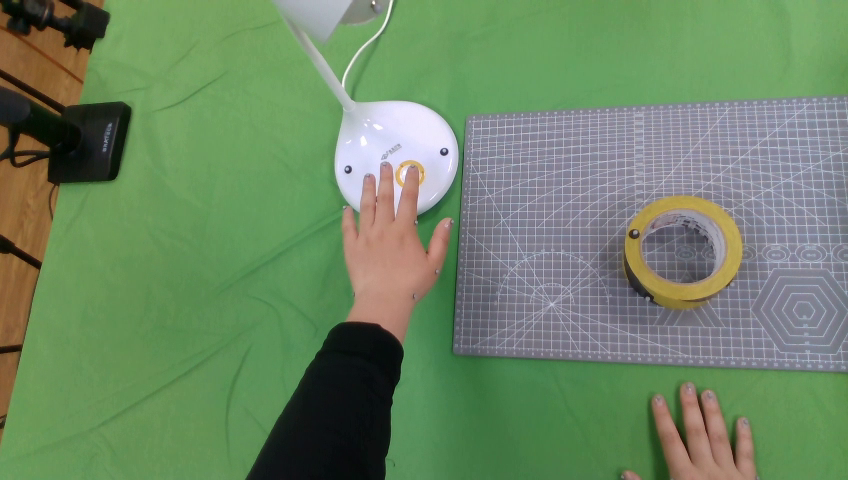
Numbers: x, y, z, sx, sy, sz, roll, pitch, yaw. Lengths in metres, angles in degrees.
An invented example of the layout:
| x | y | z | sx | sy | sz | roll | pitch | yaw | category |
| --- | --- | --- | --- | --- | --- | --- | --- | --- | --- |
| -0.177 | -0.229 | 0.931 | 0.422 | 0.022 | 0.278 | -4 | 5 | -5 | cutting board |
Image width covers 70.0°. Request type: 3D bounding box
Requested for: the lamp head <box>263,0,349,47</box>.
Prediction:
| x | y | z | sx | sy | sz | roll | pitch | yaw | category |
| --- | --- | --- | --- | --- | --- | --- | --- | --- | --- |
| -0.090 | -0.208 | 0.401 | 0.123 | 0.112 | 0.112 | 30 | 82 | -14 | lamp head |

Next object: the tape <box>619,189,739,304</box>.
| x | y | z | sx | sy | sz | roll | pitch | yaw | category |
| --- | --- | --- | --- | --- | --- | --- | --- | --- | --- |
| 0.263 | 0.007 | 0.633 | 0.116 | 0.053 | 0.116 | -4 | 74 | 13 | tape |

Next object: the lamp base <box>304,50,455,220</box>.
| x | y | z | sx | sy | sz | roll | pitch | yaw | category |
| --- | --- | --- | --- | --- | --- | --- | --- | --- | --- |
| -0.067 | -0.130 | 0.690 | 0.178 | 0.182 | 0.160 | 41 | 87 | 24 | lamp base |
